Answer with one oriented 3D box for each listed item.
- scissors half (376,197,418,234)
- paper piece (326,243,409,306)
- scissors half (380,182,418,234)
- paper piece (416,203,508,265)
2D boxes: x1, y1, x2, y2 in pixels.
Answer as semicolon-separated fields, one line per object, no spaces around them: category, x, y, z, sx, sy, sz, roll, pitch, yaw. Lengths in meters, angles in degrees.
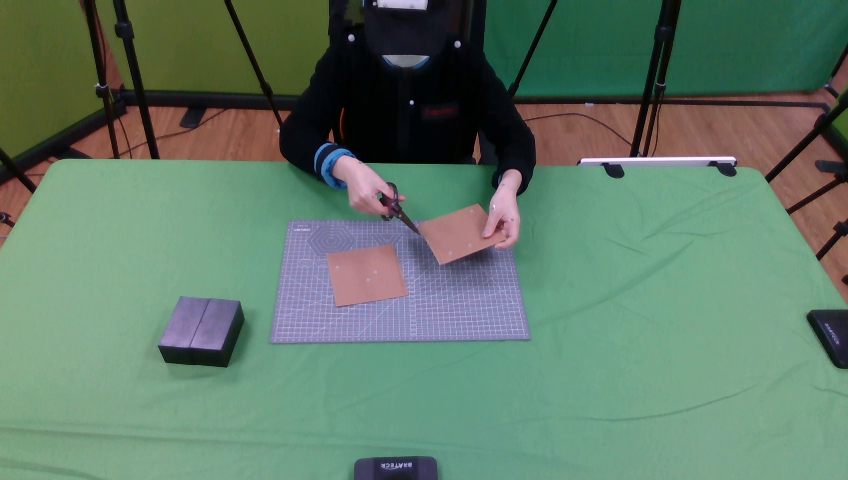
scissors half;-0.050;-0.041;1.112;0.013;0.040;0.174;7;14;-30
paper piece;-0.108;0.061;1.135;0.136;0.004;0.134;-8;47;-12
scissors half;-0.045;-0.059;1.105;0.013;0.040;0.174;2;34;-29
paper piece;0.069;-0.015;1.157;0.138;0.009;0.135;-19;43;-9
